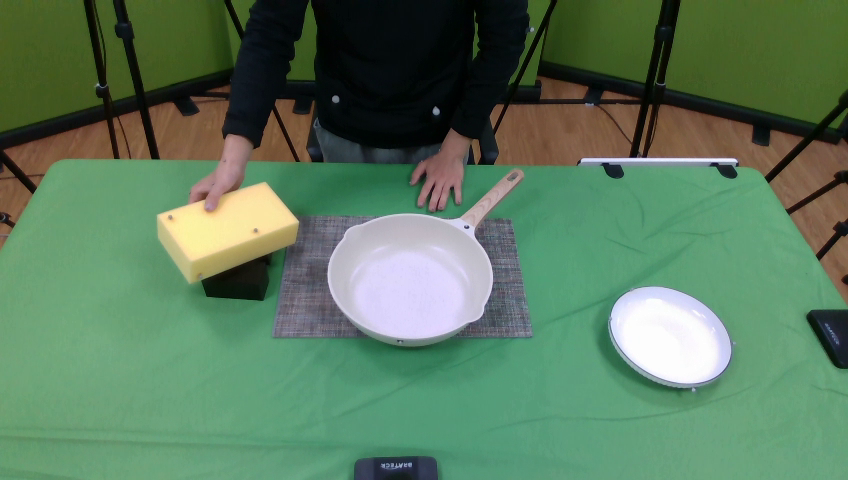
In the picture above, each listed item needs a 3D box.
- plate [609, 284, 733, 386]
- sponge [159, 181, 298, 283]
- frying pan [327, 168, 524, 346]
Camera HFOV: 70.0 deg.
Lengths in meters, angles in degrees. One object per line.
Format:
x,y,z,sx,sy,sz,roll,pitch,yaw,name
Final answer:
0.425,0.167,1.059,0.208,0.039,0.206,2,46,-2,plate
-0.345,-0.020,1.076,0.207,0.061,0.117,-26,62,-38,sponge
0.042,0.009,1.132,0.305,0.103,0.487,34,61,24,frying pan
